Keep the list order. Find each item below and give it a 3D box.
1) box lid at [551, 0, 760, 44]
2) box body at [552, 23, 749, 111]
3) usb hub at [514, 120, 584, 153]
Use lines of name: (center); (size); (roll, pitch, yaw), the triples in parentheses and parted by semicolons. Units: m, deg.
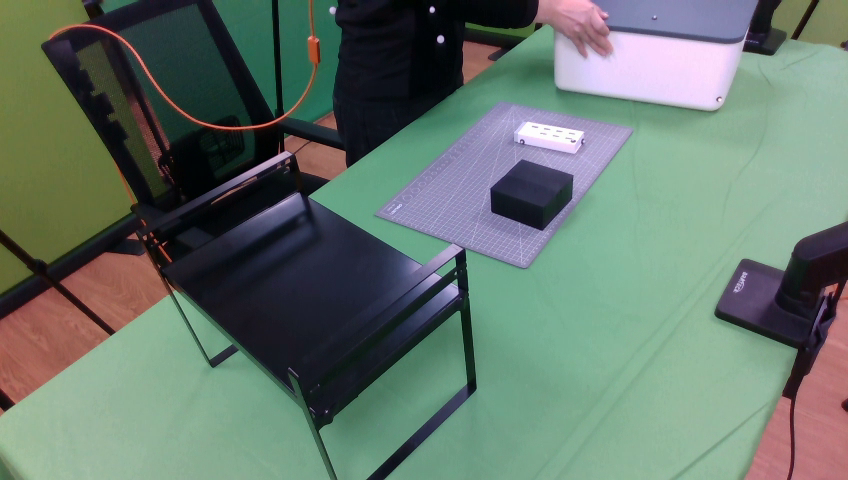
box lid: (0.469, -0.474, 1.234); (0.369, 0.015, 0.263); (16, 46, 25)
box body: (0.479, -0.417, 1.282); (0.362, 0.161, 0.254); (16, 46, 25)
usb hub: (0.241, -0.200, 1.165); (0.124, 0.025, 0.049); (17, 46, 26)
